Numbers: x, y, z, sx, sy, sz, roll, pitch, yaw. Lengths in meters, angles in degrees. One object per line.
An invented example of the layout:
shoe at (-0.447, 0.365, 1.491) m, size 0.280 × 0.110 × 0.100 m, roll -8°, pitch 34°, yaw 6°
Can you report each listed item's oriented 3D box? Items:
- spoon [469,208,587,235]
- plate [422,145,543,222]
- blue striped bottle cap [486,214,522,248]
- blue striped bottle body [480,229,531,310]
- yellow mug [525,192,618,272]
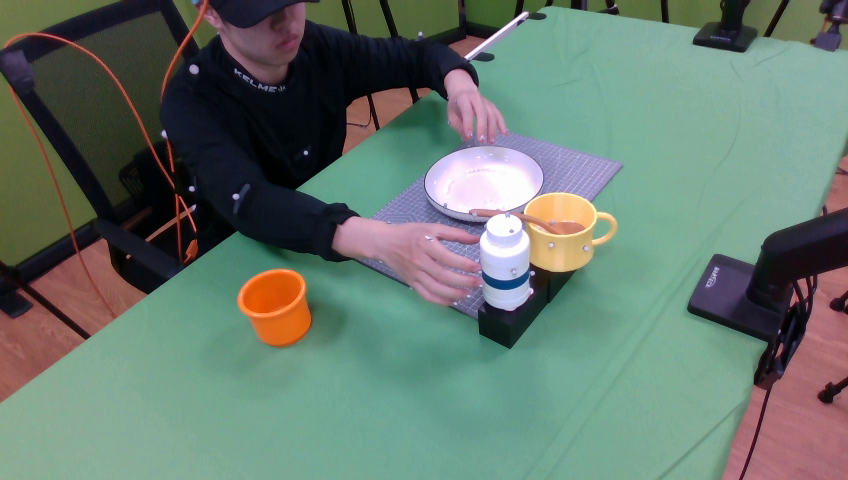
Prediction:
spoon at (0.143, -0.026, 0.817) m, size 0.195 × 0.021 × 0.041 m, roll 12°, pitch 35°, yaw -29°
plate at (0.101, -0.094, 1.048) m, size 0.207 × 0.039 × 0.206 m, roll -4°, pitch 41°, yaw 4°
blue striped bottle cap at (0.097, -0.012, 0.735) m, size 0.044 × 0.021 × 0.044 m, roll -1°, pitch 38°, yaw 1°
blue striped bottle body at (0.104, 0.027, 0.769) m, size 0.063 × 0.121 × 0.063 m, roll -4°, pitch 41°, yaw 4°
yellow mug at (0.206, -0.014, 0.845) m, size 0.131 × 0.064 × 0.099 m, roll -4°, pitch 41°, yaw 2°
